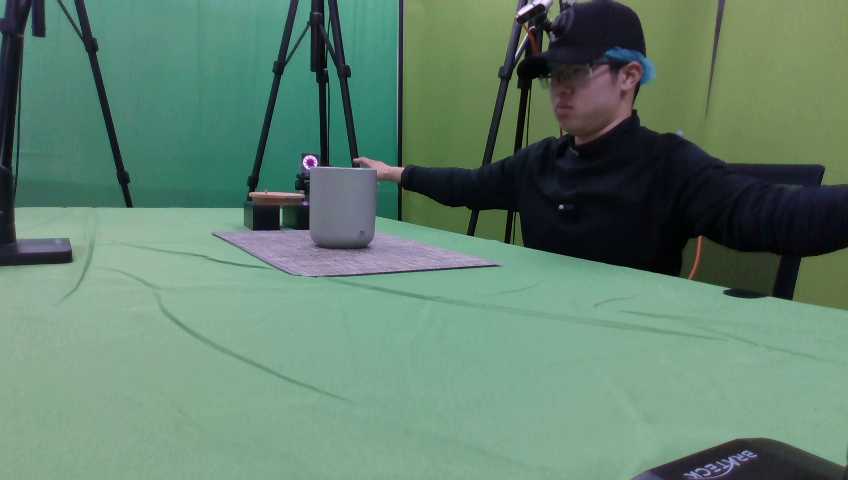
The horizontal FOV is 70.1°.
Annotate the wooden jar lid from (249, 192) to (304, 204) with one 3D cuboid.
[{"bbox_3d":[-0.297,-0.086,1.220,0.108,0.020,0.108,4,7,0],"label":"wooden jar lid"}]

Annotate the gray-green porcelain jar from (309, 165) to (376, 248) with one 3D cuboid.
[{"bbox_3d":[-0.130,-0.054,0.966,0.106,0.126,0.106,2,7,0],"label":"gray-green porcelain jar"}]
